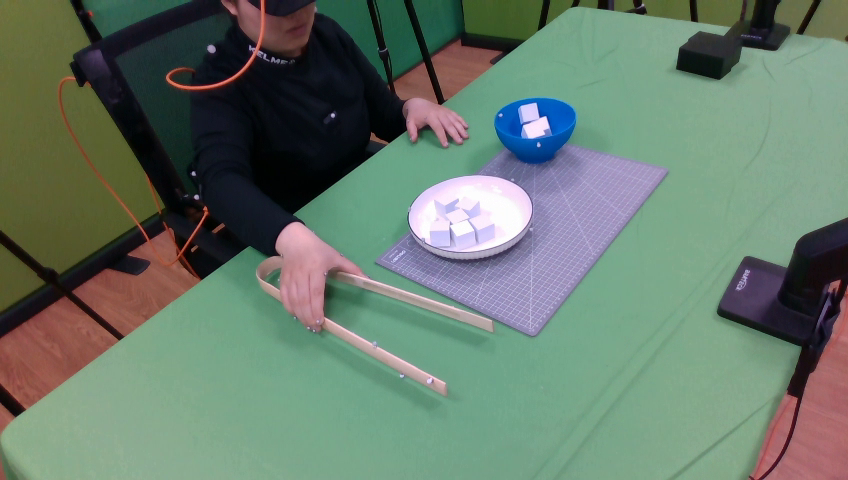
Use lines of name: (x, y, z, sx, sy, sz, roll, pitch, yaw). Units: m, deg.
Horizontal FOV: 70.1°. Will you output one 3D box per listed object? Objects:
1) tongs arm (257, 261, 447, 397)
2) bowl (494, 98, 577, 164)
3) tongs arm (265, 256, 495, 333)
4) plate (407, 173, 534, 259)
tongs arm: (-0.112, 0.114, 0.853, 0.382, 0.026, 0.051, 21, 50, 31)
bowl: (0.207, -0.196, 1.128, 0.151, 0.077, 0.150, -5, 40, 5)
tongs arm: (-0.075, 0.076, 0.892, 0.385, 0.028, 0.028, 14, 50, 25)
plate: (0.076, -0.037, 0.997, 0.207, 0.039, 0.206, -5, 40, 5)
